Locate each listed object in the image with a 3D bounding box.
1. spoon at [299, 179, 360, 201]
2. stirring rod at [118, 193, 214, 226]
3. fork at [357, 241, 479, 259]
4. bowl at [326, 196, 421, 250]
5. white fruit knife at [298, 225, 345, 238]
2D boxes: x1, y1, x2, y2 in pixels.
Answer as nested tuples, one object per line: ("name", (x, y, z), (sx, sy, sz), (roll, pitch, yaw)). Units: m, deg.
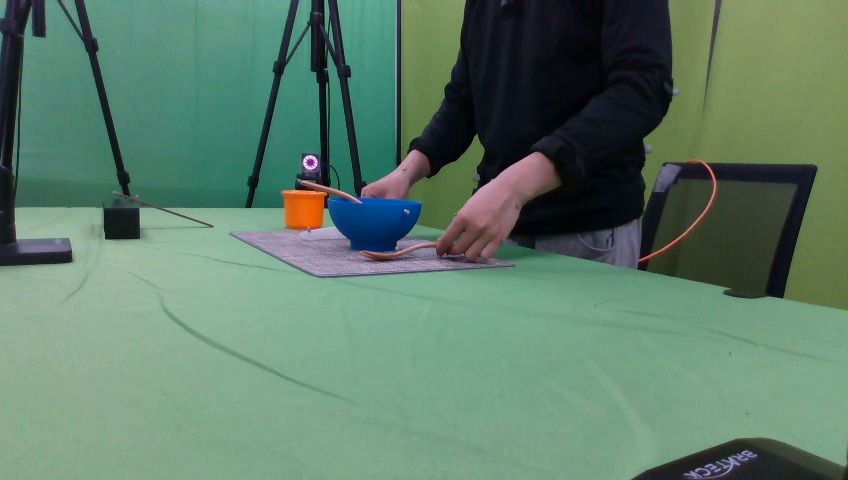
("spoon", (-0.124, -0.068, 0.993), (0.193, 0.021, 0.042), (25, 9, 17))
("stirring rod", (-0.484, -0.056, 1.142), (0.177, 0.006, 0.014), (21, -6, -28))
("fork", (-0.002, 0.012, 0.880), (0.208, 0.018, 0.028), (-7, -6, -35))
("bowl", (-0.080, -0.027, 0.957), (0.151, 0.077, 0.151), (2, 7, 0))
("white fruit knife", (-0.128, -0.020, 1.078), (0.208, 0.027, 0.016), (-7, 7, -36))
